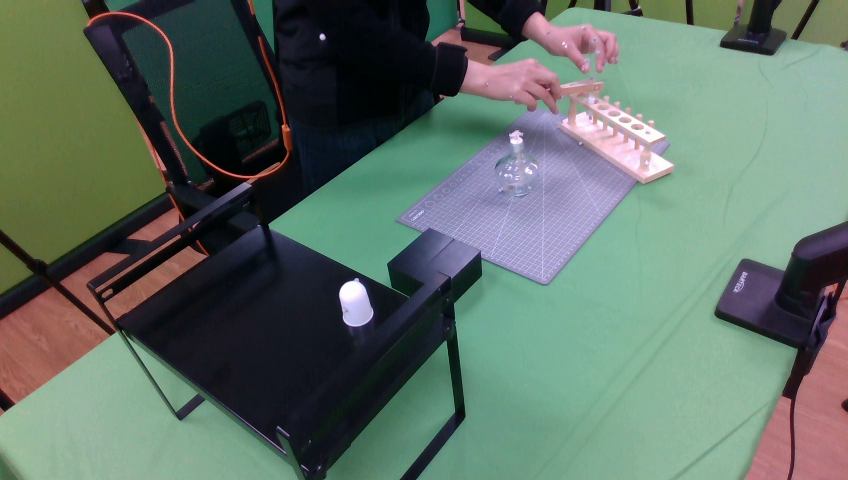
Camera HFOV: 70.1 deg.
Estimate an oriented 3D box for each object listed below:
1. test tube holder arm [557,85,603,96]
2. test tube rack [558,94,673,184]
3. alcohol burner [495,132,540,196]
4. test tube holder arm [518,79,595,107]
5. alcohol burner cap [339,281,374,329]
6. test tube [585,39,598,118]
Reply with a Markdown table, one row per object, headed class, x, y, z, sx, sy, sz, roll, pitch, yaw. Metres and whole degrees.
| class | x | y | z | sx | sy | sz | roll | pitch | yaw |
| --- | --- | --- | --- | --- | --- | --- | --- | --- | --- |
| test tube holder arm | 0.276 | -0.265 | 1.073 | 0.088 | 0.015 | 0.010 | -6 | 42 | -15 |
| test tube rack | 0.347 | -0.203 | 1.109 | 0.067 | 0.085 | 0.240 | -22 | 42 | -17 |
| alcohol burner | 0.160 | -0.135 | 1.035 | 0.078 | 0.119 | 0.077 | -5 | 42 | 5 |
| test tube holder arm | 0.234 | -0.258 | 1.058 | 0.179 | 0.015 | 0.013 | -20 | 46 | -28 |
| alcohol burner cap | -0.071 | 0.063 | 0.617 | 0.034 | 0.048 | 0.033 | -4 | 39 | 4 |
| test tube | 0.298 | -0.285 | 1.078 | 0.017 | 0.151 | 0.017 | -6 | 42 | 6 |
